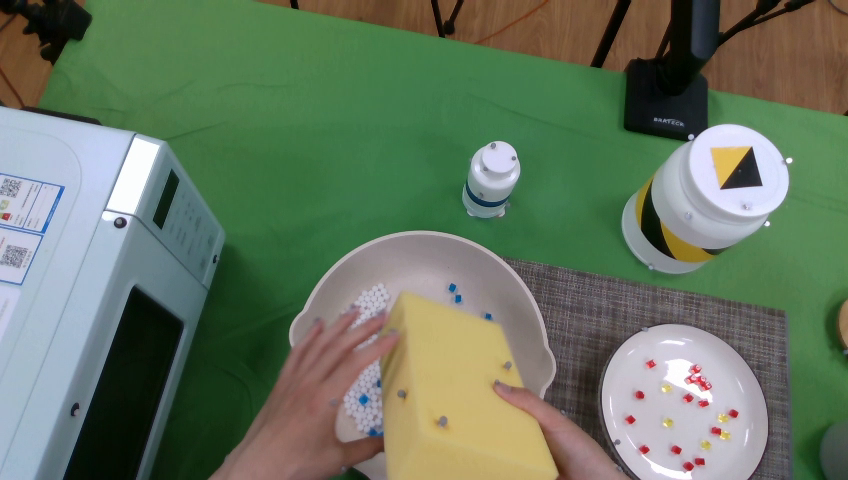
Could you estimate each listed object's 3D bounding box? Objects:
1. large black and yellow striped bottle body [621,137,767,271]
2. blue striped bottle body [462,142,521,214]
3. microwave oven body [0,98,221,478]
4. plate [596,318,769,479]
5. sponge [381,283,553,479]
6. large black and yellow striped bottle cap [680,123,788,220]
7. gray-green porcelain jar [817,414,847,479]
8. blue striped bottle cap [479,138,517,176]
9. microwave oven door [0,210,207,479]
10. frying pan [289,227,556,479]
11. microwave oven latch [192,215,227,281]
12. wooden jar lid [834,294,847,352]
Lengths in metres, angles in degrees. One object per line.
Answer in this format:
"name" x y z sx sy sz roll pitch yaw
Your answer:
"large black and yellow striped bottle body" 0.339 -0.048 0.753 0.131 0.185 0.130 1 70 -4
"blue striped bottle body" 0.087 -0.083 0.777 0.063 0.121 0.062 1 70 -4
"microwave oven body" -0.437 0.109 0.588 0.326 0.261 0.439 11 71 -1
"plate" 0.308 0.201 0.737 0.209 0.038 0.207 1 71 -3
"sponge" 0.027 0.133 0.546 0.119 0.205 0.061 21 114 -15
"large black and yellow striped bottle cap" 0.344 -0.077 0.672 0.115 0.019 0.114 2 69 -4
"gray-green porcelain jar" 0.534 0.249 0.695 0.106 0.127 0.105 2 70 -4
"blue striped bottle cap" 0.090 -0.100 0.729 0.044 0.021 0.044 1 67 -3
"microwave oven door" -0.303 0.175 0.570 0.039 0.245 0.353 11 70 -1
"frying pan" -0.019 0.221 0.669 0.307 0.103 0.484 10 62 1
"microwave oven latch" -0.266 0.008 0.740 0.030 0.029 0.078 14 71 0
"wooden jar lid" 0.595 0.118 0.803 0.108 0.021 0.107 1 72 -4
